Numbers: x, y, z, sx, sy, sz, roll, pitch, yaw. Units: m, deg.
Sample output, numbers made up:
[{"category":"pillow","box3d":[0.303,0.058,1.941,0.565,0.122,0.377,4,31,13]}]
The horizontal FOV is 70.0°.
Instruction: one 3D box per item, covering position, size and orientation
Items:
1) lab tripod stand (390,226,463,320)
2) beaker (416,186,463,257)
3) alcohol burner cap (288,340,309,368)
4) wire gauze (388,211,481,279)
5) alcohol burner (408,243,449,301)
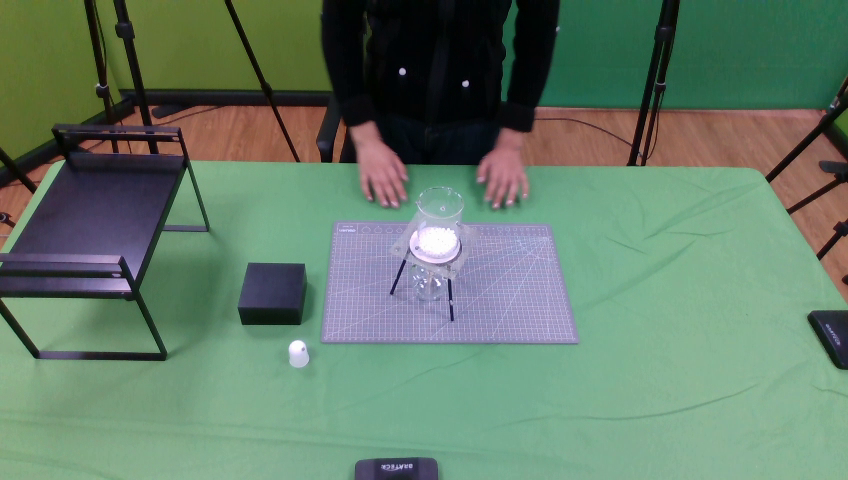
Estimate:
[{"category":"lab tripod stand","box3d":[0.014,0.053,1.063,0.148,0.132,0.147,1,48,-1]},{"category":"beaker","box3d":[0.024,-0.029,0.984,0.074,0.101,0.083,19,49,14]},{"category":"alcohol burner cap","box3d":[-0.207,0.183,0.991,0.034,0.048,0.033,3,47,-2]},{"category":"wire gauze","box3d":[0.018,0.003,1.020,0.125,0.011,0.121,20,47,18]},{"category":"alcohol burner","box3d":[0.010,0.052,1.078,0.078,0.120,0.077,1,45,-1]}]
